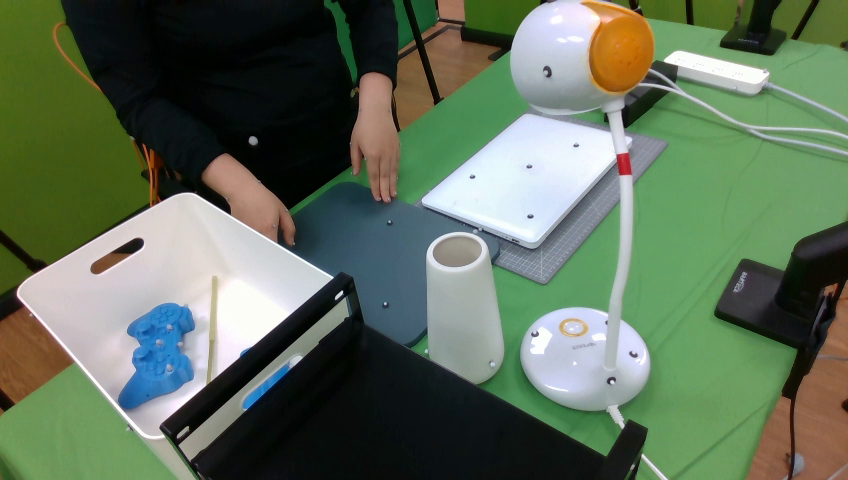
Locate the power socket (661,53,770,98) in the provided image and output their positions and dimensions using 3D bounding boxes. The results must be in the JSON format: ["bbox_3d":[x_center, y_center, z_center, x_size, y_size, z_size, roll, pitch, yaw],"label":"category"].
[{"bbox_3d":[0.617,-0.355,1.292,0.225,0.033,0.072,29,53,35],"label":"power socket"}]

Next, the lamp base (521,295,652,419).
[{"bbox_3d":[0.200,0.095,0.710,0.161,0.181,0.178,-16,43,-10],"label":"lamp base"}]

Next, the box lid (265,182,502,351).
[{"bbox_3d":[-0.087,0.023,0.971,0.368,0.015,0.264,23,49,31],"label":"box lid"}]

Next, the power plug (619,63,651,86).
[{"bbox_3d":[0.435,-0.341,1.266,0.035,0.053,0.072,5,31,-14],"label":"power plug"}]

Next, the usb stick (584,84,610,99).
[{"bbox_3d":[0.354,-0.306,1.252,0.027,0.021,0.058,-3,1,-39],"label":"usb stick"}]

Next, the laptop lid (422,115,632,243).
[{"bbox_3d":[0.189,-0.126,1.081,0.239,0.013,0.358,23,48,35],"label":"laptop lid"}]

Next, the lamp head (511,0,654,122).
[{"bbox_3d":[0.155,-0.168,0.563,0.113,0.113,0.122,-18,23,-12],"label":"lamp head"}]

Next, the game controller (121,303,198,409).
[{"bbox_3d":[-0.364,0.149,0.828,0.097,0.052,0.154,-13,41,-9],"label":"game controller"}]

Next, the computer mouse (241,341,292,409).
[{"bbox_3d":[-0.201,0.177,0.776,0.063,0.041,0.116,-11,44,-8],"label":"computer mouse"}]

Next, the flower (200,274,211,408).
[{"bbox_3d":[-0.293,0.162,0.818,0.044,0.038,0.358,5,35,-26],"label":"flower"}]

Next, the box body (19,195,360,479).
[{"bbox_3d":[-0.288,0.118,0.772,0.361,0.161,0.255,26,50,33],"label":"box body"}]

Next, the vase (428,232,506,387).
[{"bbox_3d":[0.050,0.087,0.728,0.098,0.201,0.097,-3,40,3],"label":"vase"}]

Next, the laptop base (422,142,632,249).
[{"bbox_3d":[0.192,-0.117,1.087,0.233,0.023,0.355,21,47,34],"label":"laptop base"}]
